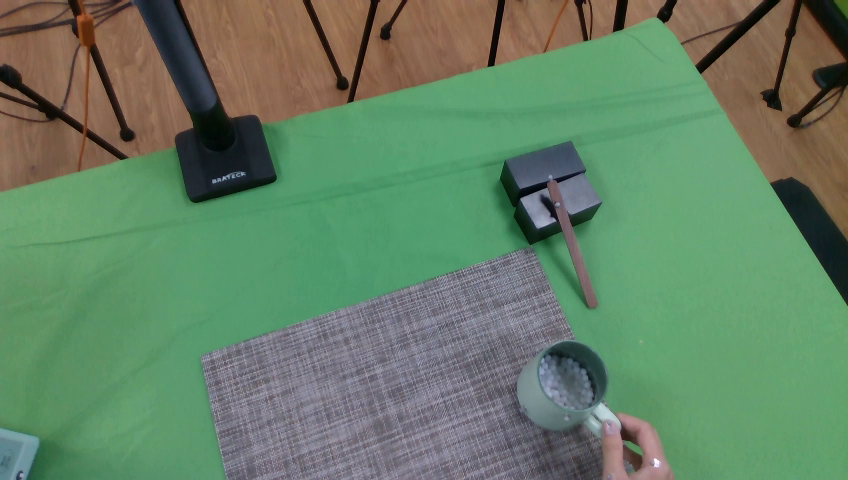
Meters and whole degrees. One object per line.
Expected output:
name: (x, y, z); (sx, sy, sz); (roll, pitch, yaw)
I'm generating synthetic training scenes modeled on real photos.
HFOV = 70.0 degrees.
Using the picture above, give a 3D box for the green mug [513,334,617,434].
green mug: (0.167, 0.171, 0.695); (0.092, 0.105, 0.124); (-41, 74, -19)

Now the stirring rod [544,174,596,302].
stirring rod: (0.191, -0.002, 0.790); (0.014, 0.006, 0.176); (-20, 93, 1)

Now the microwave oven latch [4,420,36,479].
microwave oven latch: (-0.452, 0.239, 0.657); (0.030, 0.030, 0.078); (10, 67, 1)

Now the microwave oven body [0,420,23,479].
microwave oven body: (-0.621, 0.337, 0.500); (0.326, 0.262, 0.438); (9, 67, 1)
